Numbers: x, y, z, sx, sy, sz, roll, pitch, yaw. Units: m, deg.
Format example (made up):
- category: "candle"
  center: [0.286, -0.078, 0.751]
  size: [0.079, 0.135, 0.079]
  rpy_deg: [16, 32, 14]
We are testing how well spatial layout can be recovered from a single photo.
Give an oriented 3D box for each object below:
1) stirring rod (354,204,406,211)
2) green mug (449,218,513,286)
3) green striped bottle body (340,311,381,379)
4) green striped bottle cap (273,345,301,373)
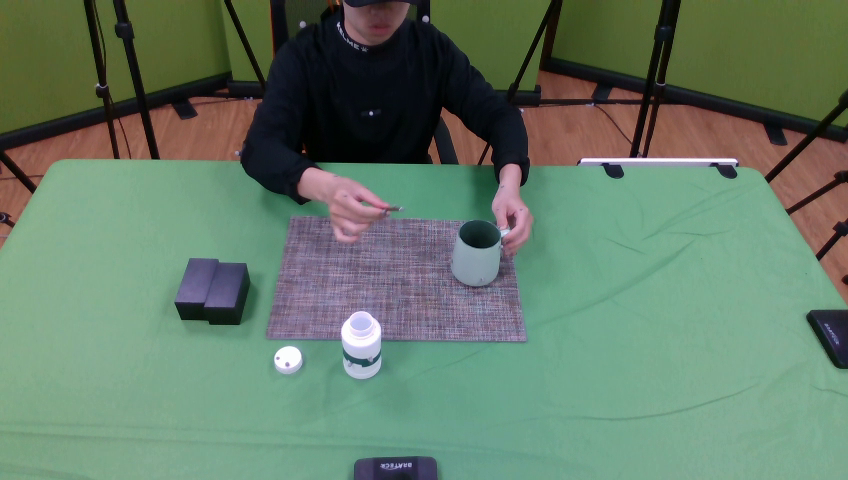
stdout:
- category: "stirring rod"
  center: [-0.077, -0.054, 1.030]
  size: [0.014, 0.006, 0.175]
  rpy_deg: [-6, 4, -31]
- category: "green mug"
  center: [0.110, 0.018, 1.126]
  size: [0.125, 0.105, 0.092]
  rpy_deg: [-20, 50, -22]
- category: "green striped bottle body"
  center: [-0.101, 0.164, 0.964]
  size: [0.063, 0.120, 0.063]
  rpy_deg: [2, 46, -2]
- category: "green striped bottle cap"
  center: [-0.225, 0.195, 0.997]
  size: [0.044, 0.020, 0.044]
  rpy_deg: [2, 50, -2]
